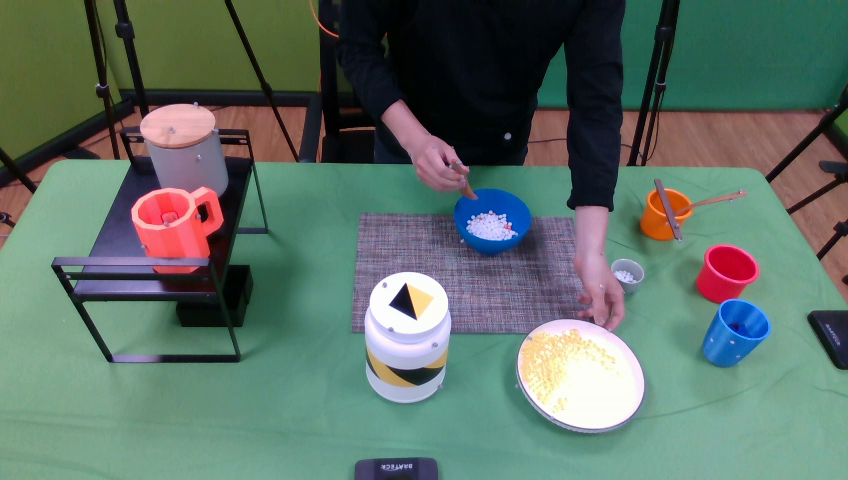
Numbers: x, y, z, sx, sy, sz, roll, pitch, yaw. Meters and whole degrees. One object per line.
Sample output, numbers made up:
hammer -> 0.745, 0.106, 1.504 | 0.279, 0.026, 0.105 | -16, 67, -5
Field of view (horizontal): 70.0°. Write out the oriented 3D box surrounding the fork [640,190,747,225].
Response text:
fork -> 0.533, -0.065, 1.211 | 0.207, 0.019, 0.028 | -22, 28, 38

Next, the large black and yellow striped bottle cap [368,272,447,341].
large black and yellow striped bottle cap -> -0.023, 0.093, 0.875 | 0.115, 0.019, 0.114 | 3, 46, -3

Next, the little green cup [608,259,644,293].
little green cup -> 0.379, 0.070, 1.147 | 0.061, 0.039, 0.061 | 2, 46, -2

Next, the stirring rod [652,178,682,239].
stirring rod -> 0.480, -0.066, 1.203 | 0.014, 0.006, 0.175 | 4, 46, -4

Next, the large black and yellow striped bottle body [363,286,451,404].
large black and yellow striped bottle body -> -0.027, 0.153, 0.935 | 0.131, 0.185, 0.130 | 2, 46, -2

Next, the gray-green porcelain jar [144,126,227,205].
gray-green porcelain jar -> -0.375, -0.126, 0.967 | 0.106, 0.127, 0.105 | 2, 46, -2

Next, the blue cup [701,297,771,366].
blue cup -> 0.519, 0.162, 1.025 | 0.093, 0.101, 0.092 | 3, 45, -3

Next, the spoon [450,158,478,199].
spoon -> 0.066, -0.107, 1.053 | 0.041, 0.194, 0.021 | 34, 83, 19

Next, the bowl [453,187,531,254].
bowl -> 0.128, -0.025, 1.187 | 0.151, 0.077, 0.150 | 2, 46, -2

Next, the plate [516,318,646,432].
plate -> 0.253, 0.221, 0.992 | 0.209, 0.038, 0.208 | 2, 46, -2

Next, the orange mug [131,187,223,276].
orange mug -> -0.354, -0.022, 0.888 | 0.083, 0.101, 0.126 | 31, 55, 24

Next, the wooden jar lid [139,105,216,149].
wooden jar lid -> -0.372, -0.169, 0.920 | 0.108, 0.021, 0.107 | 4, 44, -4
